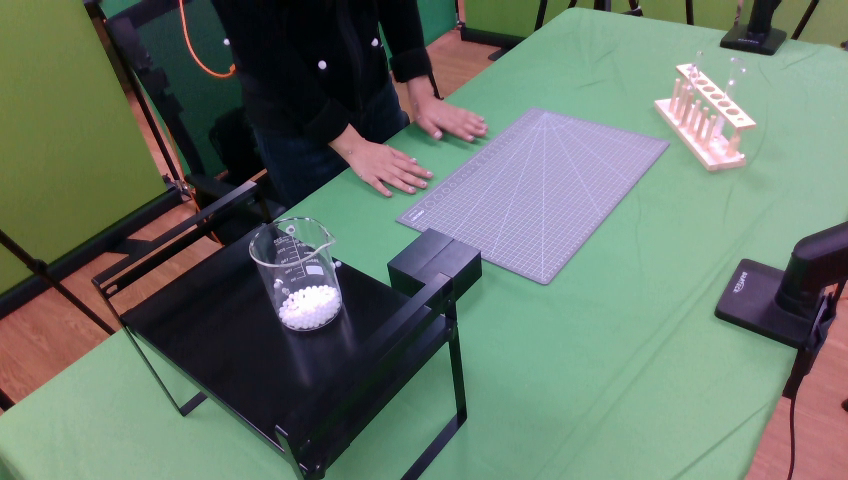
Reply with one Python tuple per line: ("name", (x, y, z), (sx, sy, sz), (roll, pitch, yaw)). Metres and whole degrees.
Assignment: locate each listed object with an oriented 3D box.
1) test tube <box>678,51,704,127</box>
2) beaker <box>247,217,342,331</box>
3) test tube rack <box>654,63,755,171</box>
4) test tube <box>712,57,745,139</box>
("test tube", (0.486, -0.272, 1.100), (0.017, 0.151, 0.017), (-3, 42, 3))
("beaker", (-0.124, 0.037, 0.614), (0.084, 0.101, 0.073), (-7, 41, 0))
("test tube rack", (0.510, -0.233, 1.120), (0.067, 0.085, 0.241), (-8, 41, -1))
("test tube", (0.529, -0.244, 1.053), (0.017, 0.151, 0.017), (-1, 39, 1))
